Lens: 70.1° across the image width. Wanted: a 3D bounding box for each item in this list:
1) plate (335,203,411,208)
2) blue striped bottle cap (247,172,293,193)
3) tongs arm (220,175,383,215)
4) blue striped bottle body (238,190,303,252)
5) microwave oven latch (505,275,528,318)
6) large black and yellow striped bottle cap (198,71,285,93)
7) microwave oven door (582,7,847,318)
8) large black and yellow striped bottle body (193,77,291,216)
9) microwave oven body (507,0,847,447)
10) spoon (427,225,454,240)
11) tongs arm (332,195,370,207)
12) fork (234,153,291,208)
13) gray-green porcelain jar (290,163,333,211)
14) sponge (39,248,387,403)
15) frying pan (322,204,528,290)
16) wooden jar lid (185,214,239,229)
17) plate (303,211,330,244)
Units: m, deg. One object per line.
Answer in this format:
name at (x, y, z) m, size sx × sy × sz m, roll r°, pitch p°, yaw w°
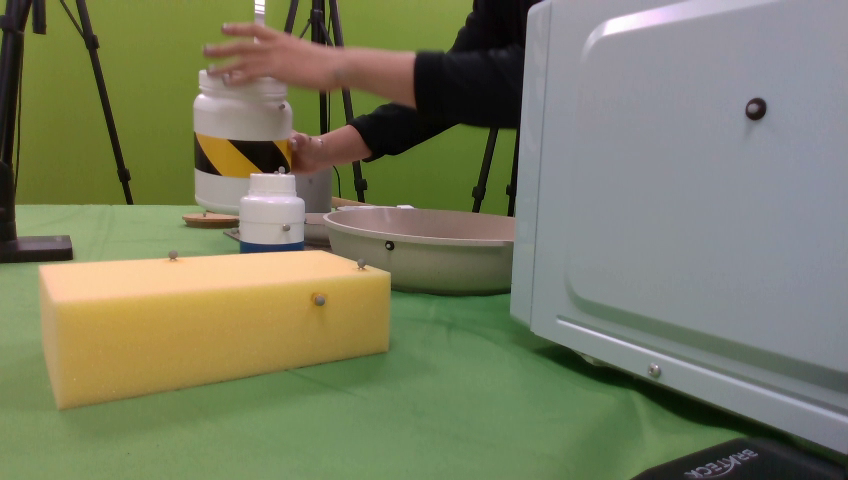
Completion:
plate at (-0.089, -0.053, 1.309) m, size 0.208 × 0.039 × 0.207 m, roll 2°, pitch 8°, yaw 0°
blue striped bottle cap at (-0.152, -0.057, 0.598) m, size 0.044 × 0.020 × 0.044 m, roll 3°, pitch 7°, yaw 0°
tongs arm at (-0.285, -0.105, 1.445) m, size 0.389 × 0.027 × 0.028 m, roll 10°, pitch -3°, yaw -23°
blue striped bottle body at (-0.153, -0.007, 0.606) m, size 0.063 × 0.120 × 0.063 m, roll 2°, pitch 8°, yaw 0°
microwave oven latch at (0.100, 0.041, 0.472) m, size 0.079 × 0.029 × 0.030 m, roll -2°, pitch 8°, yaw -31°
large black and yellow striped bottle cap at (-0.249, -0.217, 0.830) m, size 0.115 × 0.019 × 0.115 m, roll 6°, pitch 17°, yaw -2°
microwave oven door at (0.295, -0.067, 0.569) m, size 0.358 × 0.243 × 0.039 m, roll -3°, pitch 8°, yaw -31°
large black and yellow striped bottle body at (-0.255, -0.138, 0.855) m, size 0.131 × 0.184 × 0.130 m, roll 4°, pitch 18°, yaw -1°
microwave oven body at (0.331, -0.042, 0.425) m, size 0.444 × 0.260 × 0.324 m, roll -2°, pitch 8°, yaw -31°
spoon at (0.024, -0.019, 1.125) m, size 0.042 × 0.021 × 0.193 m, roll -16°, pitch 9°, yaw -4°
tongs arm at (-0.241, -0.095, 1.374) m, size 0.387 × 0.026 × 0.050 m, roll 9°, pitch 1°, yaw -37°
fork at (-0.396, -0.143, 1.486) m, size 0.028 × 0.018 × 0.208 m, roll 19°, pitch -26°, yaw 45°
gray-green porcelain jar at (-0.238, -0.092, 1.221) m, size 0.106 × 0.126 × 0.106 m, roll 2°, pitch 7°, yaw 0°
sponge at (-0.142, 0.047, 0.420) m, size 0.208 × 0.061 × 0.117 m, roll -3°, pitch 8°, yaw -36°
frying pan at (0.110, -0.018, 0.800) m, size 0.490 × 0.102 × 0.305 m, roll -12°, pitch 16°, yaw -30°
wooden jar lid at (-0.404, -0.037, 1.169) m, size 0.108 × 0.020 × 0.108 m, roll 3°, pitch 7°, yaw 0°
plate at (-0.139, -0.022, 1.021) m, size 0.209 × 0.038 × 0.209 m, roll 2°, pitch 8°, yaw 0°
